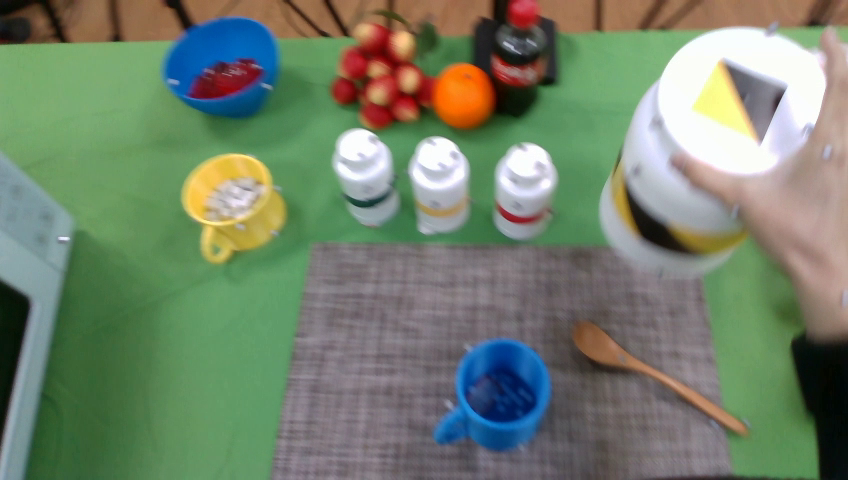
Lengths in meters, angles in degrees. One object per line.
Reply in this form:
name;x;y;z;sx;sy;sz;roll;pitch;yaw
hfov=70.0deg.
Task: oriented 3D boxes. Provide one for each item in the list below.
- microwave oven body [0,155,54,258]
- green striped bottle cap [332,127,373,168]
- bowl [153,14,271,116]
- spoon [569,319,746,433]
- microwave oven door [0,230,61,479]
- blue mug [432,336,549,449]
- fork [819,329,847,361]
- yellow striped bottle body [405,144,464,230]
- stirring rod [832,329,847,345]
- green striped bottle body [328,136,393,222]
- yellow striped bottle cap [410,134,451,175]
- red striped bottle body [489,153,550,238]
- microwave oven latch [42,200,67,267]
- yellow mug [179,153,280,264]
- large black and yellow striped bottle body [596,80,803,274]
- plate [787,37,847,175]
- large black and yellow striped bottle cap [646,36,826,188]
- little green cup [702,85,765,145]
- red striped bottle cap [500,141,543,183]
microwave oven body;-0.581;0.123;0.554;0.326;0.262;0.437;-8;63;0
green striped bottle cap;-0.078;-0.101;0.656;0.044;0.020;0.044;-2;60;4
bowl;-0.272;-0.221;0.817;0.151;0.077;0.150;-2;62;3
spoon;0.234;0.139;0.615;0.192;0.022;0.041;29;47;18
microwave oven door;-0.432;0.138;0.528;0.039;0.246;0.352;-8;62;1
blue mug;0.058;0.156;0.573;0.116;0.107;0.081;-30;63;-10
fork;0.456;0.122;0.538;0.028;0.019;0.206;-44;22;-9
yellow striped bottle body;0.013;-0.066;0.689;0.063;0.121;0.062;-2;61;5
stirring rod;0.425;0.122;0.549;0.014;0.006;0.175;4;19;3
green striped bottle body;-0.073;-0.076;0.702;0.063;0.120;0.062;-2;62;4
yellow striped bottle cap;0.007;-0.091;0.643;0.044;0.019;0.044;0;59;0
red striped bottle body;0.106;-0.057;0.678;0.063;0.121;0.062;-2;61;4
microwave oven latch;-0.448;-0.006;0.720;0.030;0.030;0.078;-6;63;1
yellow mug;-0.236;-0.033;0.722;0.100;0.064;0.130;9;64;9
large black and yellow striped bottle body;0.223;-0.060;0.502;0.131;0.185;0.130;-2;68;5
plate;0.521;-0.161;0.745;0.209;0.038;0.207;-2;63;4
large black and yellow striped bottle cap;0.216;-0.091;0.423;0.115;0.019;0.114;-2;69;7
little green cup;0.350;-0.141;0.691;0.061;0.039;0.061;-1;61;3
red striped bottle cap;0.102;-0.082;0.631;0.044;0.018;0.044;0;61;0
